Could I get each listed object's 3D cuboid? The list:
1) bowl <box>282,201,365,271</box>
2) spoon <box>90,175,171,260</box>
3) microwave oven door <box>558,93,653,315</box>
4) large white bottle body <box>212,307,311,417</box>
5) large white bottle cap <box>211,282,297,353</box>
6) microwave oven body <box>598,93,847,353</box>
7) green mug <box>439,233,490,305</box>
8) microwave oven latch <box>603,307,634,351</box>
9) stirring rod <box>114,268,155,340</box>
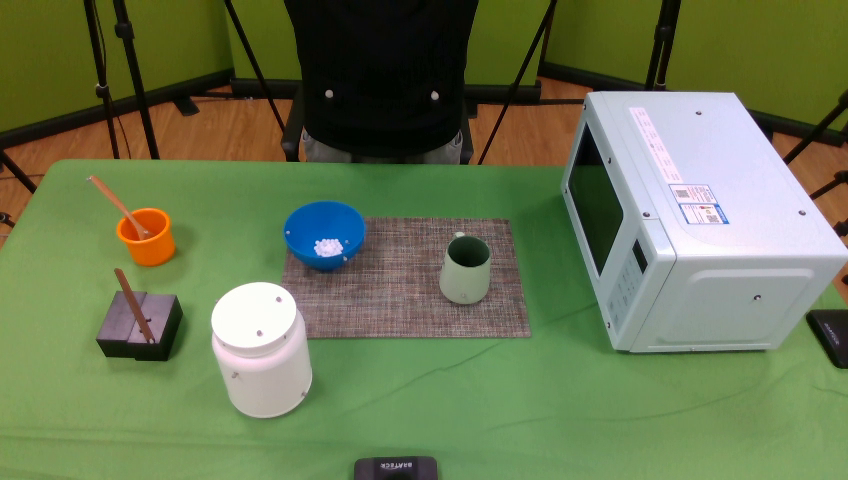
[{"bbox_3d":[-0.187,0.005,1.138,0.151,0.077,0.150,3,46,-3],"label":"bowl"},{"bbox_3d":[-0.539,-0.042,1.111,0.041,0.194,0.021,-45,19,-32],"label":"spoon"},{"bbox_3d":[0.327,-0.074,1.123,0.039,0.245,0.353,0,46,-5],"label":"microwave oven door"},{"bbox_3d":[-0.241,0.165,0.907,0.131,0.185,0.130,2,46,-2],"label":"large white bottle body"},{"bbox_3d":[-0.237,0.106,0.846,0.115,0.018,0.114,2,45,-2],"label":"large white bottle cap"},{"bbox_3d":[0.475,-0.041,1.110,0.326,0.261,0.438,-1,45,-4],"label":"microwave oven body"},{"bbox_3d":[0.071,0.044,1.102,0.092,0.105,0.124,-6,46,-10],"label":"green mug"},{"bbox_3d":[0.332,0.153,1.044,0.030,0.029,0.078,0,45,-4],"label":"microwave oven latch"},{"bbox_3d":[-0.479,0.103,0.999,0.014,0.006,0.175,7,32,-49],"label":"stirring rod"}]
